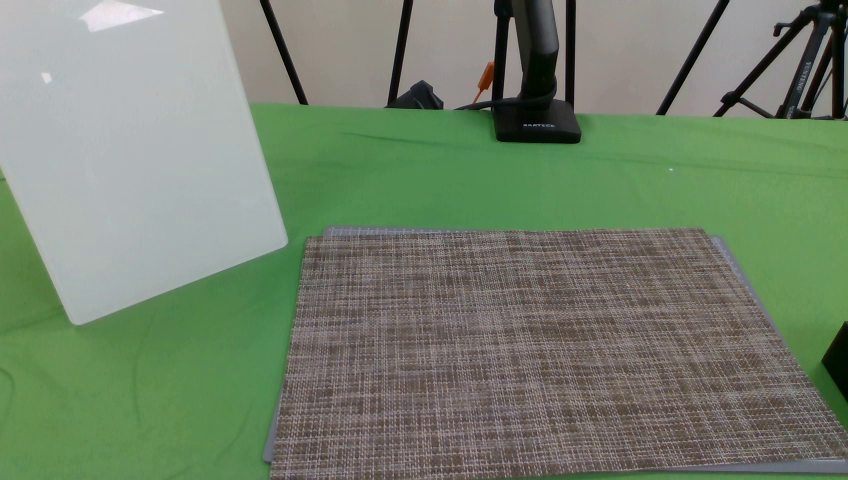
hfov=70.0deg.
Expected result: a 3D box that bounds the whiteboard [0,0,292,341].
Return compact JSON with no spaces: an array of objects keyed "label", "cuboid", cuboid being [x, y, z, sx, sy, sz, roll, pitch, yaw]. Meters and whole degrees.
[{"label":"whiteboard","cuboid":[-0.294,-0.098,0.602,0.217,0.307,0.142,-23,24,-28]}]
